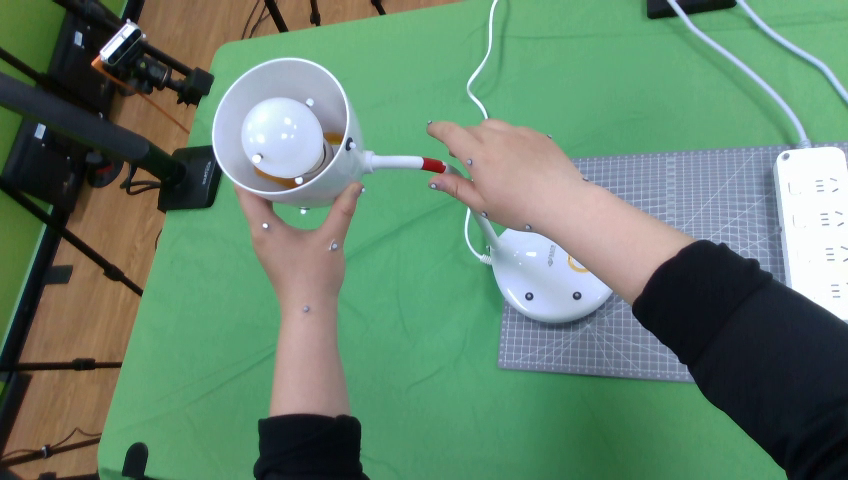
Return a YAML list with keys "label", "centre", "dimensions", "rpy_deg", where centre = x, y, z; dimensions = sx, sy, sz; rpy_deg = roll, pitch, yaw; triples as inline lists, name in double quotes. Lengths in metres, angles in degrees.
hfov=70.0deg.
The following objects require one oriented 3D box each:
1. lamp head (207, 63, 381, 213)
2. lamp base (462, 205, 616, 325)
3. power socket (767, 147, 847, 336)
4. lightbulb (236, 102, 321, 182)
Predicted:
- label: "lamp head"
  centre: [-0.099, -0.072, 0.511]
  dimensions: [0.112, 0.124, 0.112]
  rpy_deg: [-4, 76, 16]
- label: "lamp base"
  centre: [0.125, 0.003, 0.715]
  dimensions: [0.178, 0.182, 0.159]
  rpy_deg: [-8, 65, 22]
- label: "power socket"
  centre: [0.437, -0.006, 0.681]
  dimensions: [0.072, 0.033, 0.225]
  rpy_deg: [-2, 67, 20]
- label: "lightbulb"
  centre: [-0.109, -0.072, 0.487]
  dimensions: [0.059, 0.108, 0.059]
  rpy_deg: [-1, 83, 9]
